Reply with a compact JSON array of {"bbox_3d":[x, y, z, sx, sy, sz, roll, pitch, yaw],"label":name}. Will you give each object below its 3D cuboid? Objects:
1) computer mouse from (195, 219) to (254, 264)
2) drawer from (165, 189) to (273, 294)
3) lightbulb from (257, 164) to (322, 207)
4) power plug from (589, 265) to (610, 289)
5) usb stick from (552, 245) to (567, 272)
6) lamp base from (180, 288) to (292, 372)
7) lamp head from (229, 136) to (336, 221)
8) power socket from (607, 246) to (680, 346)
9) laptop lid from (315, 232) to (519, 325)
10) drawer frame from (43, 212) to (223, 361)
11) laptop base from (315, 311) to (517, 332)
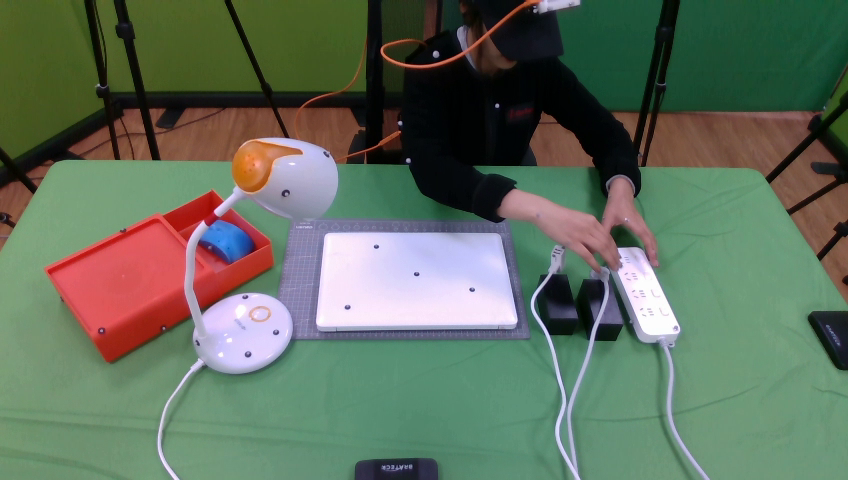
[{"bbox_3d":[-0.380,-0.003,1.152,0.116,0.041,0.062,28,53,28],"label":"computer mouse"},{"bbox_3d":[-0.419,0.021,1.108,0.193,0.073,0.211,37,55,27],"label":"drawer"},{"bbox_3d":[-0.181,-0.078,0.810,0.059,0.059,0.108,36,11,27],"label":"lightbulb"},{"bbox_3d":[0.317,0.074,1.108,0.035,0.053,0.072,27,35,12],"label":"power plug"},{"bbox_3d":[0.252,0.039,1.125,0.021,0.059,0.027,13,49,26],"label":"usb stick"},{"bbox_3d":[-0.309,0.108,0.959,0.160,0.181,0.179,29,55,22],"label":"lamp base"},{"bbox_3d":[-0.196,-0.085,0.791,0.112,0.112,0.123,36,14,27],"label":"lamp head"},{"bbox_3d":[0.402,0.095,1.123,0.072,0.033,0.225,-2,47,-5],"label":"power socket"},{"bbox_3d":[-0.015,0.065,1.118,0.357,0.013,0.240,1,43,-3],"label":"laptop lid"},{"bbox_3d":[-0.497,0.073,1.049,0.213,0.083,0.200,-34,57,-31],"label":"drawer frame"},{"bbox_3d":[-0.016,0.075,1.125,0.355,0.023,0.234,0,42,-4],"label":"laptop base"}]
